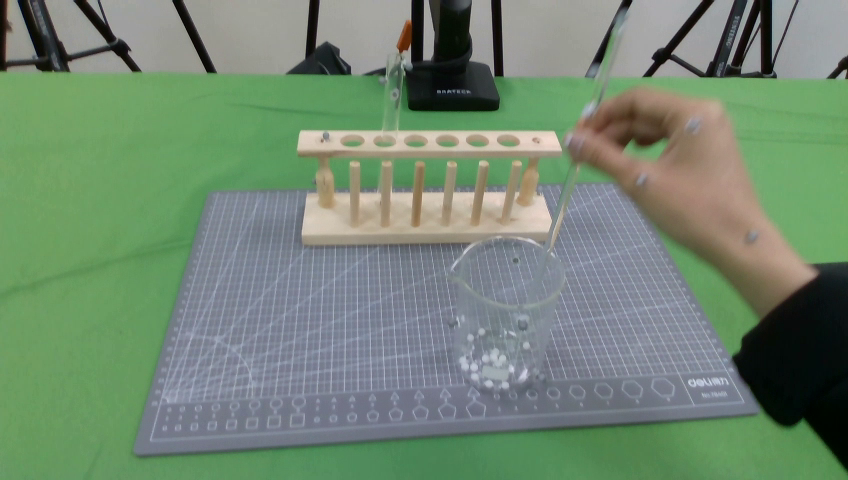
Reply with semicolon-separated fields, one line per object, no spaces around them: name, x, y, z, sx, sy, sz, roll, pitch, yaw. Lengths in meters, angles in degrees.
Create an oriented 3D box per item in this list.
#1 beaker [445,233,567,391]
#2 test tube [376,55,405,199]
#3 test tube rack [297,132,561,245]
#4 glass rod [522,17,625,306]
beaker;0.056;0.057;0.446;0.084;0.101;0.073;0;40;-2
test tube;-0.032;-0.096;0.553;0.017;0.151;0.017;5;42;-4
test tube rack;0.005;-0.049;0.577;0.243;0.086;0.066;-1;41;-5
glass rod;0.089;-0.037;0.382;0.008;0.201;0.008;9;32;-5
